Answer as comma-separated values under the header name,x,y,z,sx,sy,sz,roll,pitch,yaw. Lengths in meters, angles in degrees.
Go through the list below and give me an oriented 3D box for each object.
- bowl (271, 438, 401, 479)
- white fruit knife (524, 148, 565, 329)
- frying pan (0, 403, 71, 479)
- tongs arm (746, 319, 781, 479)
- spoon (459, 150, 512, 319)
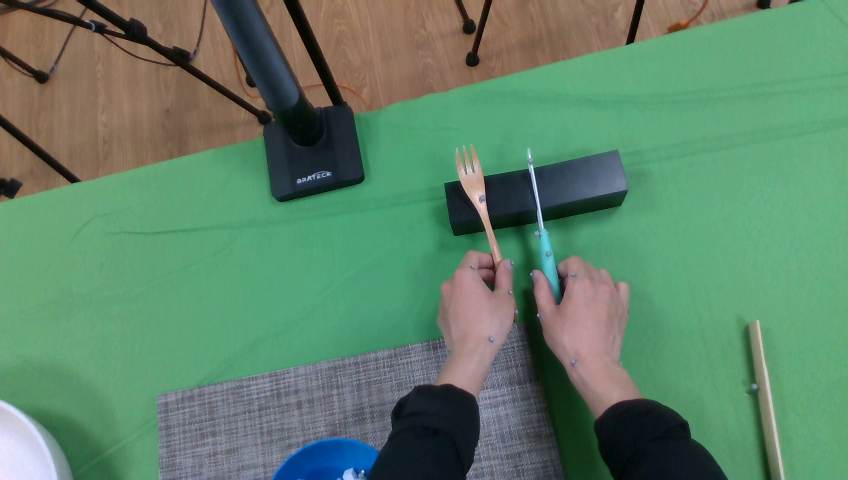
name,x,y,z,sx,sy,sz,roll,pitch,yaw
bowl,-0.082,0.281,0.620,0.151,0.077,0.150,-2,72,7
white fruit knife,0.132,-0.002,0.679,0.016,0.027,0.207,-10,86,0
frying pan,-0.506,0.416,0.629,0.307,0.103,0.483,-13,63,5
tongs arm,0.360,0.268,0.592,0.028,0.028,0.385,-4,73,5
spoon,0.074,-0.005,0.682,0.042,0.021,0.193,-10,84,-27
